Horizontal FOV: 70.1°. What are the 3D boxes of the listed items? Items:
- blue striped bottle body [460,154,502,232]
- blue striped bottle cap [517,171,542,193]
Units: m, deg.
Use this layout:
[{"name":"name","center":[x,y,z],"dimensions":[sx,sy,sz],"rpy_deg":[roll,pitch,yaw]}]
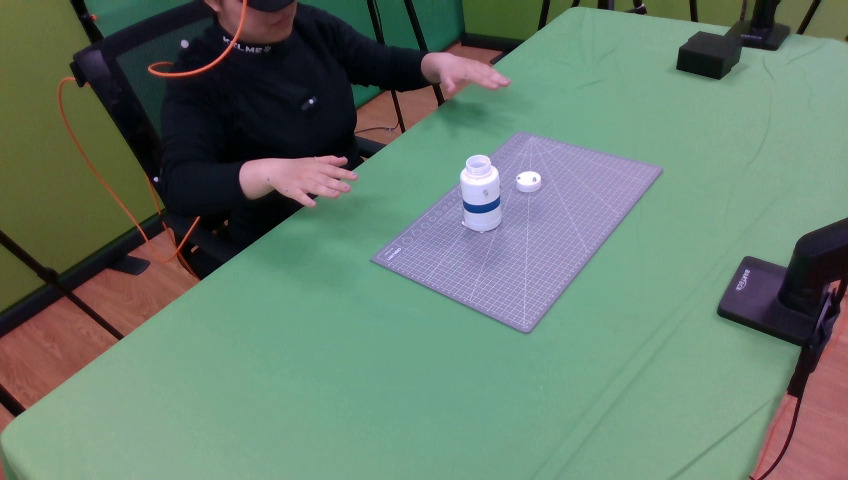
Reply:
[{"name":"blue striped bottle body","center":[0.092,-0.078,0.976],"dimensions":[0.063,0.121,0.063],"rpy_deg":[-6,40,5]},{"name":"blue striped bottle cap","center":[0.187,-0.103,1.072],"dimensions":[0.044,0.021,0.044],"rpy_deg":[-5,42,5]}]
